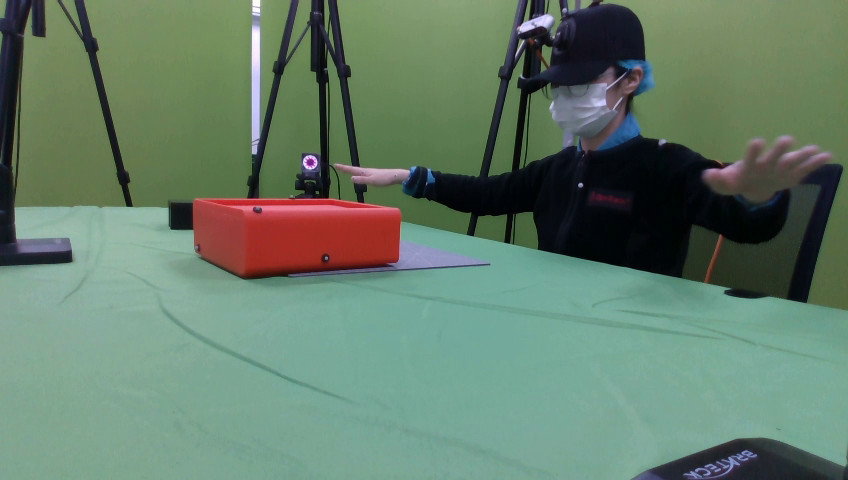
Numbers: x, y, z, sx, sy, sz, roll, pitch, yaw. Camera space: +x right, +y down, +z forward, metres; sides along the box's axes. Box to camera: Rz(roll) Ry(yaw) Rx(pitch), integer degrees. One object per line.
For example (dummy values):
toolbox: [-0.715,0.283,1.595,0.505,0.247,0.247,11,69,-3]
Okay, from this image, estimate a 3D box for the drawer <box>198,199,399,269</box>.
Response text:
drawer: [-0.171,-0.014,0.818,0.213,0.073,0.193,-4,10,-36]

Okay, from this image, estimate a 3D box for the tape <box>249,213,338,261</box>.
tape: [-0.174,-0.006,0.813,0.117,0.052,0.117,2,7,0]

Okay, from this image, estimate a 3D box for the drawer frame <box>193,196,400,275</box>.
drawer frame: [-0.173,-0.014,0.815,0.215,0.082,0.200,-4,10,-37]
